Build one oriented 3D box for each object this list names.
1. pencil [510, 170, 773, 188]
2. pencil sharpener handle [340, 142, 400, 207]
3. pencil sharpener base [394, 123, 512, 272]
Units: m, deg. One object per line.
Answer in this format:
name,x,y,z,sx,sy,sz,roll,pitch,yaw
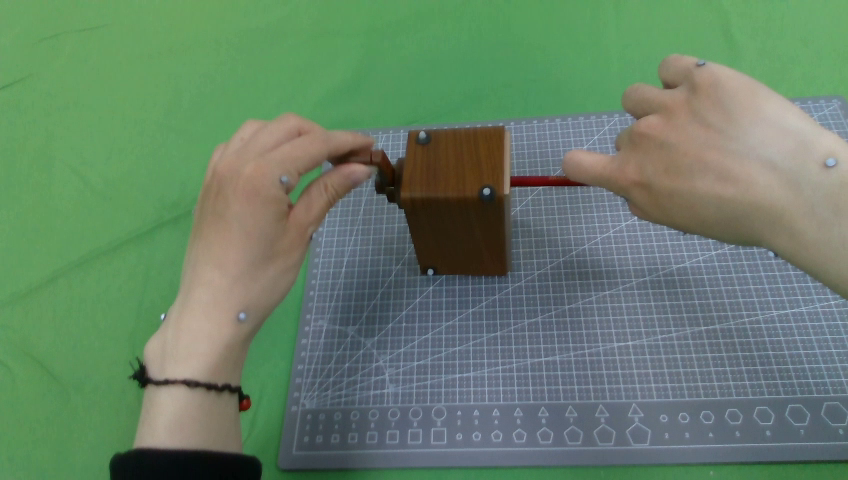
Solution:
pencil,0.129,-0.039,0.399,0.194,0.012,0.012,0,58,5
pencil sharpener handle,-0.033,-0.046,0.403,0.030,0.068,0.036,0,70,9
pencil sharpener base,0.024,-0.026,0.434,0.076,0.108,0.061,0,58,9
